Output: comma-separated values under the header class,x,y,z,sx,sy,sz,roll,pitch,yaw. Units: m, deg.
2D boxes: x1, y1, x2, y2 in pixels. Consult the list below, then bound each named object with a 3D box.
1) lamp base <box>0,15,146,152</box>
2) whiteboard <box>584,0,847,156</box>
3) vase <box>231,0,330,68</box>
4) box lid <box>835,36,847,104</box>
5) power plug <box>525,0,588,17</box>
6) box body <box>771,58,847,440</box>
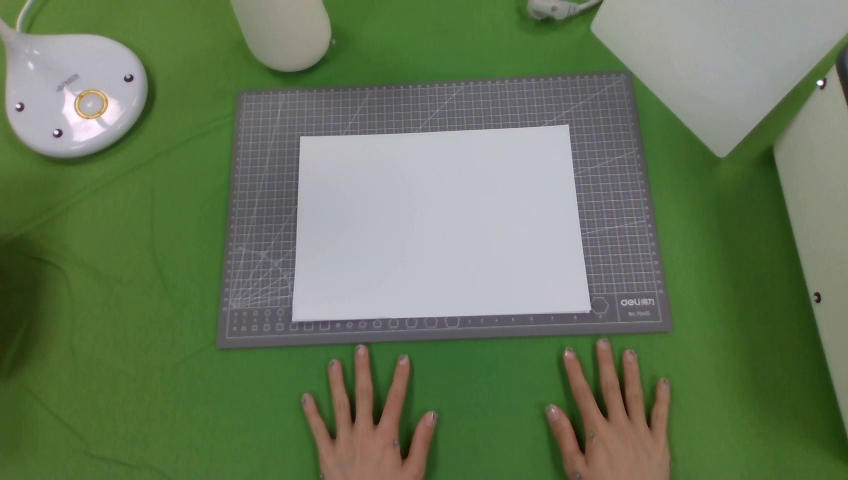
class,x,y,z,sx,sy,sz,roll,pitch,yaw
lamp base,-0.415,-0.205,0.628,0.178,0.181,0.160,29,74,15
whiteboard,0.337,-0.273,0.584,0.144,0.307,0.215,-27,70,-27
vase,-0.162,-0.269,0.629,0.098,0.201,0.097,-1,70,4
box lid,0.483,-0.016,0.453,0.263,0.015,0.369,-4,71,2
power plug,0.150,-0.278,0.715,0.073,0.035,0.052,0,36,-38
box body,0.487,0.011,0.523,0.254,0.161,0.361,-4,71,1
